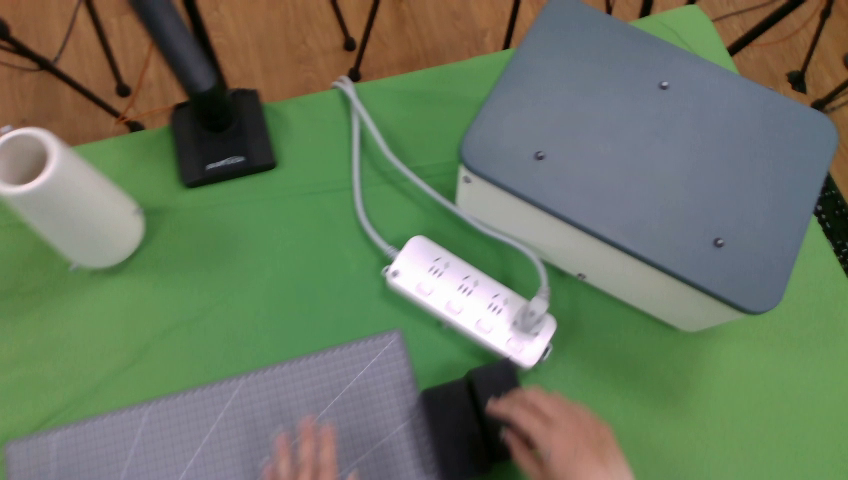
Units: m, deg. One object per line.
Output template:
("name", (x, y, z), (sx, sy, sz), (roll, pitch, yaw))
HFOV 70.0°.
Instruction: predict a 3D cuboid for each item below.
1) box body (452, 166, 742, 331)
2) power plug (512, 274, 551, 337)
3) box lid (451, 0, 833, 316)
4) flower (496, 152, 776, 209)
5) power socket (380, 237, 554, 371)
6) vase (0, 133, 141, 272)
("box body", (0.238, -0.079, 0.730), (0.363, 0.161, 0.253), (27, 71, 6))
("power plug", (0.133, 0.082, 0.711), (0.035, 0.053, 0.072), (40, 69, 13))
("box lid", (0.242, -0.104, 0.661), (0.371, 0.015, 0.262), (27, 72, 6))
("flower", (0.269, -0.090, 0.811), (0.360, 0.038, 0.044), (12, 59, 21))
("power socket", (0.053, 0.076, 0.732), (0.226, 0.033, 0.072), (31, 71, 8))
("vase", (-0.387, -0.036, 0.657), (0.098, 0.201, 0.097), (1, 68, -3))
